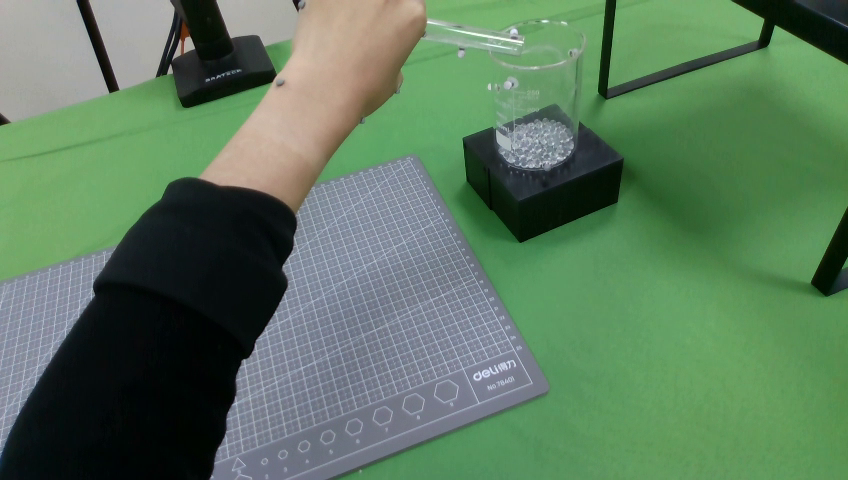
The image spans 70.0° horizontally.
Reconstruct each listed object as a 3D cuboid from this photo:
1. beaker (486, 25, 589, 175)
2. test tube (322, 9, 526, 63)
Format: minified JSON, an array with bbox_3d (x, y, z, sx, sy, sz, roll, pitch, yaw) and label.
[{"bbox_3d":[0.089,-0.111,0.491,0.083,0.101,0.074,30,58,34],"label":"beaker"},{"bbox_3d":[0.002,-0.148,0.440,0.151,0.017,0.017,6,44,-10],"label":"test tube"}]
